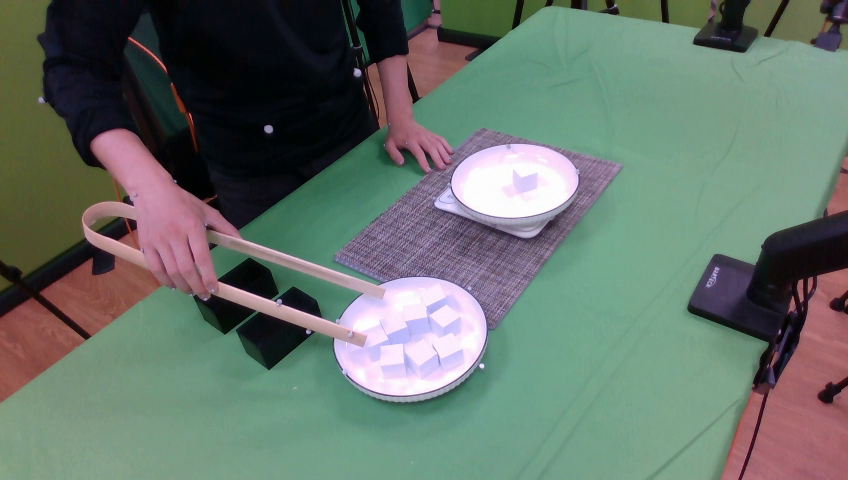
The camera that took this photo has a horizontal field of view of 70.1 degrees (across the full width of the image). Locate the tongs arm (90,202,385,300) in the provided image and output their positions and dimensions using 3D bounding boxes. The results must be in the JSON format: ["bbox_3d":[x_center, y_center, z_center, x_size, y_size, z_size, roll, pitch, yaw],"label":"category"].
[{"bbox_3d":[-0.238,0.016,0.794,0.388,0.028,0.028,18,50,-4],"label":"tongs arm"}]

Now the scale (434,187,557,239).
[{"bbox_3d":[0.132,-0.075,1.025,0.199,0.032,0.149,22,48,30],"label":"scale"}]

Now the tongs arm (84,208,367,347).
[{"bbox_3d":[-0.249,0.048,0.761,0.385,0.026,0.050,19,46,-2],"label":"tongs arm"}]

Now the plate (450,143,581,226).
[{"bbox_3d":[0.148,-0.087,0.986,0.209,0.038,0.208,-4,41,4],"label":"plate"}]

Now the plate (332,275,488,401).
[{"bbox_3d":[-0.017,0.130,0.808,0.207,0.039,0.206,-4,41,4],"label":"plate"}]
